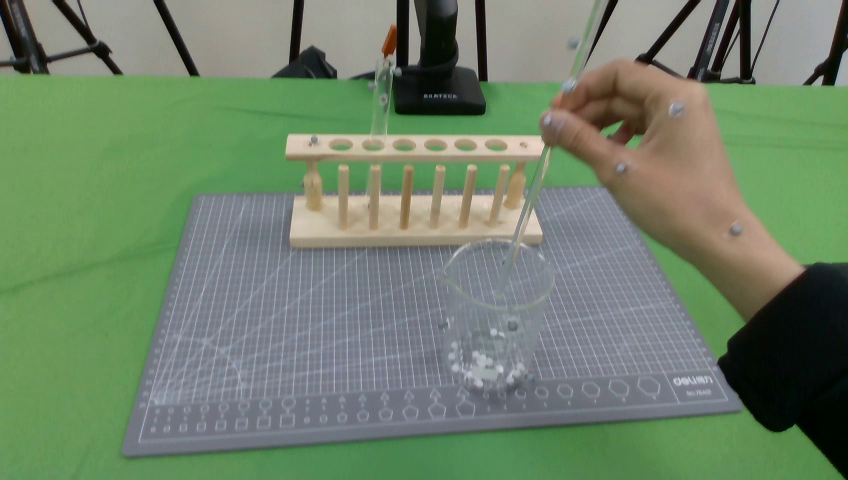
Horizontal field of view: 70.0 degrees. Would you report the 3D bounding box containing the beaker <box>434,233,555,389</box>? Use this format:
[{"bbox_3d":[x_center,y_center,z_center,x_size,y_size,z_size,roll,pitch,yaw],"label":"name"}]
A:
[{"bbox_3d":[0.047,0.056,0.450,0.084,0.101,0.073,0,41,-4],"label":"beaker"}]

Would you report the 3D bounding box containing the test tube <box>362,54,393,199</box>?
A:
[{"bbox_3d":[-0.044,-0.097,0.553,0.017,0.151,0.017,6,42,-5],"label":"test tube"}]

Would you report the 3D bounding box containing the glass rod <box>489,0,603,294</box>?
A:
[{"bbox_3d":[0.067,-0.045,0.359,0.008,0.201,0.008,10,34,-6],"label":"glass rod"}]

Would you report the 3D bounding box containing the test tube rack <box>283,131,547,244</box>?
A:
[{"bbox_3d":[-0.008,-0.050,0.579,0.243,0.086,0.066,-1,41,-7],"label":"test tube rack"}]
